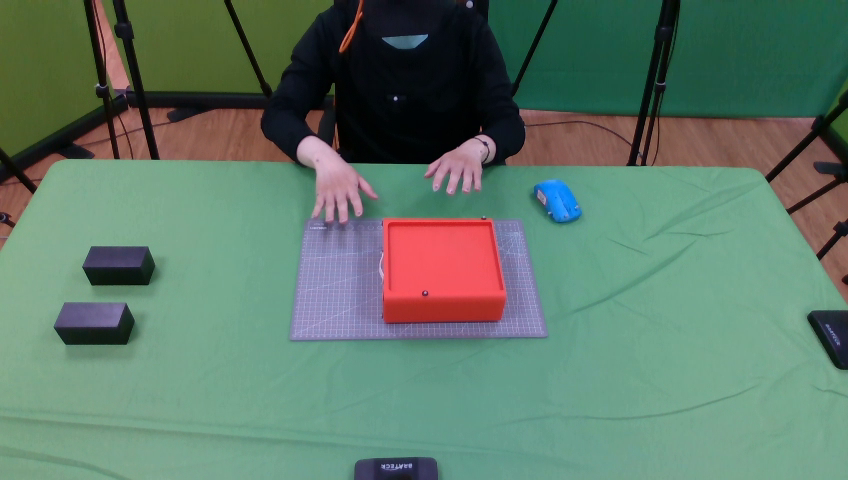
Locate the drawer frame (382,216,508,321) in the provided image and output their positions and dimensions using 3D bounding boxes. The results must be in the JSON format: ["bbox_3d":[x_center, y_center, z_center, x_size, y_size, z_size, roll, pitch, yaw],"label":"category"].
[{"bbox_3d":[0.029,0.049,1.102,0.214,0.083,0.200,0,46,-5],"label":"drawer frame"}]

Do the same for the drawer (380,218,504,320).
[{"bbox_3d":[0.026,0.049,1.103,0.212,0.073,0.193,0,46,-4],"label":"drawer"}]

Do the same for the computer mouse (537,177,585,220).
[{"bbox_3d":[0.291,-0.093,1.288,0.063,0.041,0.116,-13,53,-18],"label":"computer mouse"}]
